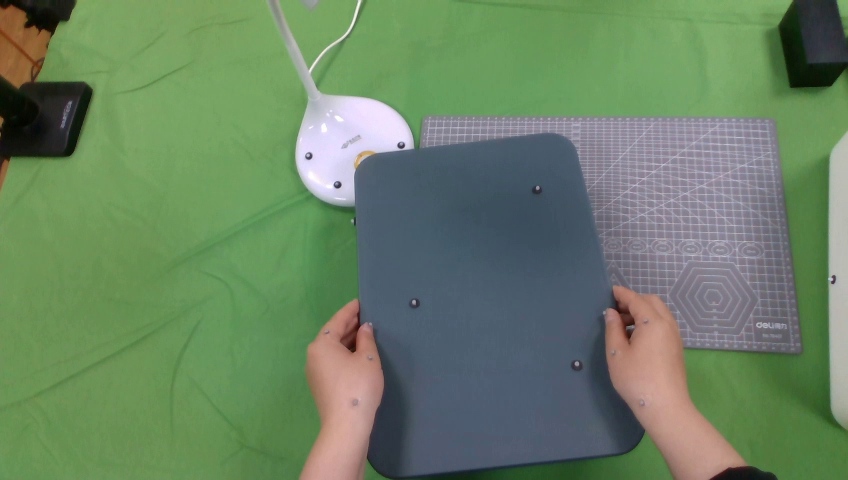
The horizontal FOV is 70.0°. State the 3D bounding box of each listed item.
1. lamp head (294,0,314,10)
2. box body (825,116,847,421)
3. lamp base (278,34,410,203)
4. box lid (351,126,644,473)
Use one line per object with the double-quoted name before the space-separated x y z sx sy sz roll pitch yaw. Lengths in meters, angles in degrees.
"lamp head" -0.104 -0.256 0.459 0.123 0.112 0.112 35 75 -17
"box body" 0.560 0.020 0.599 0.253 0.161 0.362 8 71 10
"lamp base" -0.117 -0.157 0.741 0.178 0.182 0.160 41 79 22
"box lid" 0.059 0.038 0.634 0.263 0.015 0.368 -7 62 1
